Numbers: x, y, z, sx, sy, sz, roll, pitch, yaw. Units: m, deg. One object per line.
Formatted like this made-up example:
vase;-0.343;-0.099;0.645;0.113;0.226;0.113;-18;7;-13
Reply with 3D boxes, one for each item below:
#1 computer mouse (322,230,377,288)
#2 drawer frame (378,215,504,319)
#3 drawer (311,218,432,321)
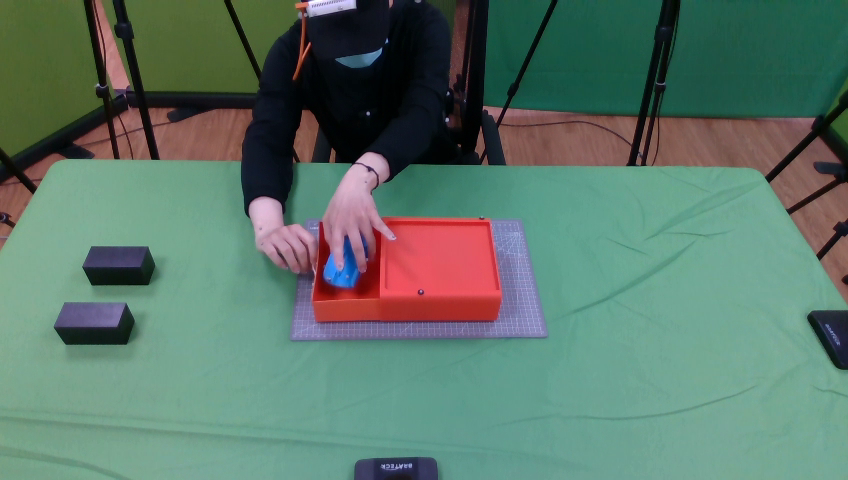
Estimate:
computer mouse;-0.133;0.030;1.083;0.062;0.041;0.117;18;60;14
drawer frame;0.024;0.047;1.103;0.214;0.083;0.200;0;46;-4
drawer;-0.091;0.049;1.096;0.212;0.073;0.193;-1;46;-3
